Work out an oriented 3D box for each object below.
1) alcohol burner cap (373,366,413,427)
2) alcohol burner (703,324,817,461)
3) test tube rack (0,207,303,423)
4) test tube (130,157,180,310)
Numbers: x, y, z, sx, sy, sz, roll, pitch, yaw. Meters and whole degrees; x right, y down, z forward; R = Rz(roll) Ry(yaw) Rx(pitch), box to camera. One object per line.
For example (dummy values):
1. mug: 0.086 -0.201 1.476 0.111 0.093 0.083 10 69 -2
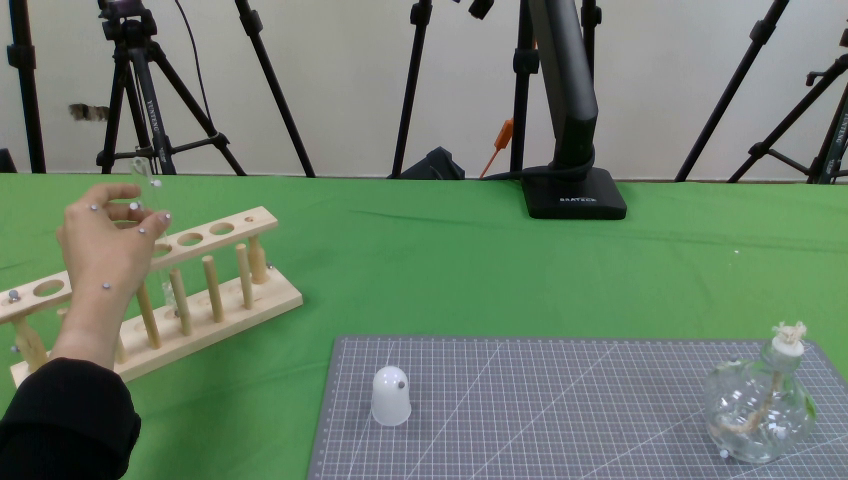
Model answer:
1. alcohol burner cap: -0.025 0.121 0.482 0.034 0.048 0.033 1 35 0
2. alcohol burner: 0.251 0.106 0.445 0.078 0.120 0.077 1 36 0
3. test tube rack: -0.236 0.056 0.541 0.243 0.086 0.066 -23 41 -31
4. test tube: -0.232 -0.001 0.534 0.017 0.151 0.017 -1 30 1
